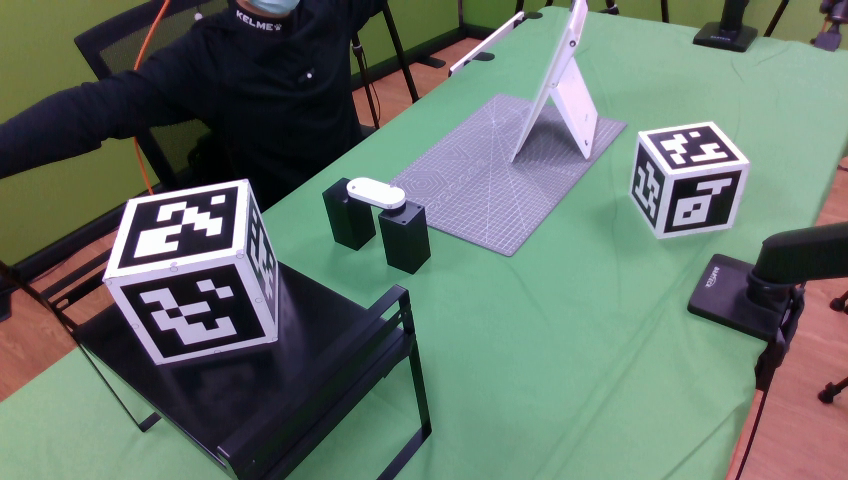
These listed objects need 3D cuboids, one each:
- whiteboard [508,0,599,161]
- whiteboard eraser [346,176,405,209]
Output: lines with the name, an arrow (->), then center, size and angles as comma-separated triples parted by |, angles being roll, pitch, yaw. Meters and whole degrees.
whiteboard -> 0.285, -0.289, 1.088 | 0.144, 0.305, 0.217 | 22, 45, 3
whiteboard eraser -> -0.073, -0.072, 0.909 | 0.100, 0.019, 0.041 | 20, 49, 29
